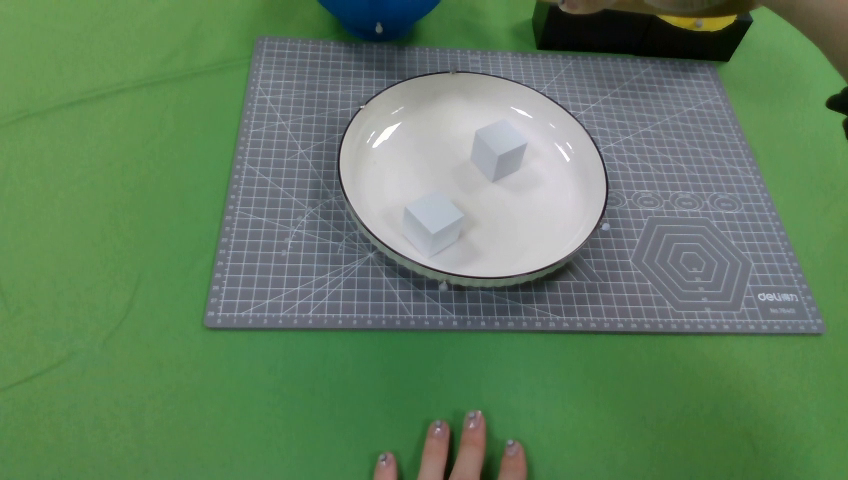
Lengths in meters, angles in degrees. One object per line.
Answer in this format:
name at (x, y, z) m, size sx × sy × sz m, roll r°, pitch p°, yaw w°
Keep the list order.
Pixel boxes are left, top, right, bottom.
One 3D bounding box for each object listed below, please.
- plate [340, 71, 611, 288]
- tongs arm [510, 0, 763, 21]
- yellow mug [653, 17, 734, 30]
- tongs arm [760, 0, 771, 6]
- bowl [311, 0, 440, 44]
plate at (0.039, -0.049, 0.477) m, size 0.208 × 0.039 × 0.205 m, roll 3°, pitch 56°, yaw -4°
tongs arm at (0.034, -0.188, 0.421) m, size 0.028 × 0.028 × 0.383 m, roll -36°, pitch 42°, yaw -25°
yellow mug at (0.240, -0.248, 0.557) m, size 0.131 × 0.064 × 0.099 m, roll -13°, pitch 58°, yaw -13°
tongs arm at (0.074, -0.217, 0.437) m, size 0.051 × 0.027 × 0.380 m, roll -35°, pitch 42°, yaw -19°
bowl at (-0.047, -0.241, 0.574) m, size 0.151 × 0.077 × 0.150 m, roll 2°, pitch 55°, yaw -3°
